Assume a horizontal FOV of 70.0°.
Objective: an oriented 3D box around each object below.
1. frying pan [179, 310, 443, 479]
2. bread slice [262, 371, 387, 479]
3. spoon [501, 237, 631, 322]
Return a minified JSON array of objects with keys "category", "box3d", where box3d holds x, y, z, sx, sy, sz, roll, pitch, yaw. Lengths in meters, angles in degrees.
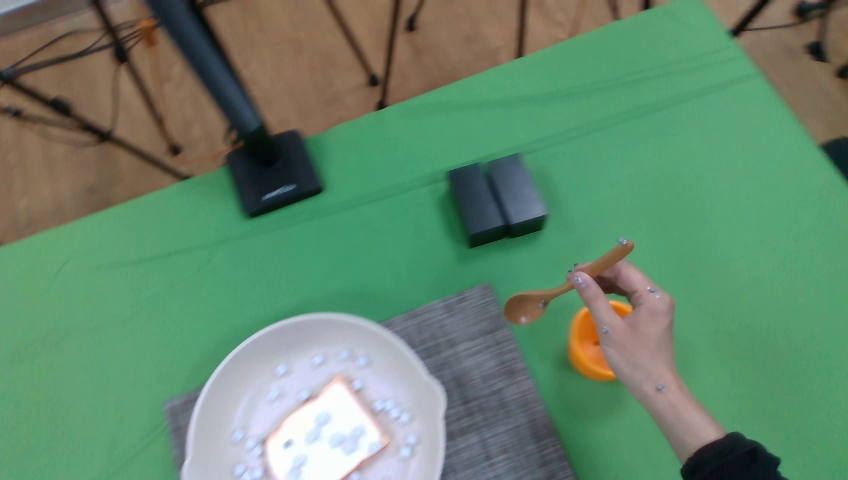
[{"category":"frying pan","box3d":[-0.094,0.314,0.658,0.307,0.103,0.483,-17,60,-3]},{"category":"bread slice","box3d":[-0.125,0.242,0.731,0.134,0.018,0.106,-39,71,-14]},{"category":"spoon","box3d":[0.135,0.043,0.593,0.042,0.194,0.021,33,57,-10]}]
